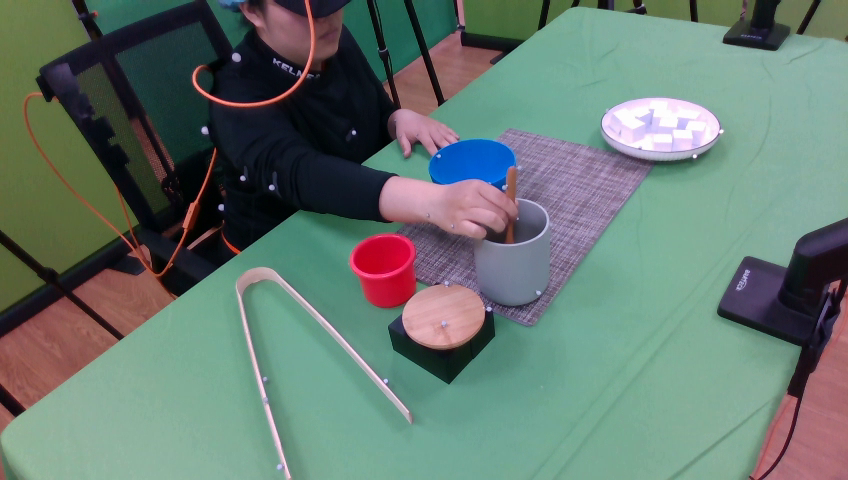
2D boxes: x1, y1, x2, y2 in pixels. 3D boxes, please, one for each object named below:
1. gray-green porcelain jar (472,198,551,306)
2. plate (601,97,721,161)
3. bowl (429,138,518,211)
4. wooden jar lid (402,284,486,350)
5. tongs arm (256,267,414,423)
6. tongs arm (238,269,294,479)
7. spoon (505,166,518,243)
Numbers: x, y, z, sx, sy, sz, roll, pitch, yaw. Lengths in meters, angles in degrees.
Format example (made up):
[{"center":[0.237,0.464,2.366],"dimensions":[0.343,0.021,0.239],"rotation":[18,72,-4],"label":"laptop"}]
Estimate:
[{"center":[0.125,0.021,0.850],"dimensions":[0.106,0.127,0.105],"rotation":[-6,40,5],"label":"gray-green porcelain jar"},{"center":[0.437,-0.202,1.126],"dimensions":[0.209,0.038,0.208],"rotation":[-5,39,5],"label":"plate"},{"center":[0.087,-0.104,1.043],"dimensions":[0.151,0.077,0.150],"rotation":[-5,40,5],"label":"bowl"},{"center":[0.027,0.101,0.786],"dimensions":[0.108,0.021,0.108],"rotation":[-5,39,5],"label":"wooden jar lid"},{"center":[-0.137,0.132,0.853],"dimensions":[0.028,0.028,0.384],"rotation":[-34,45,-23],"label":"tongs arm"},{"center":[-0.208,0.163,0.824],"dimensions":[0.051,0.026,0.381],"rotation":[-22,40,-15],"label":"tongs arm"},{"center":[0.116,-0.019,0.817],"dimensions":[0.041,0.194,0.021],"rotation":[5,38,13],"label":"spoon"}]
